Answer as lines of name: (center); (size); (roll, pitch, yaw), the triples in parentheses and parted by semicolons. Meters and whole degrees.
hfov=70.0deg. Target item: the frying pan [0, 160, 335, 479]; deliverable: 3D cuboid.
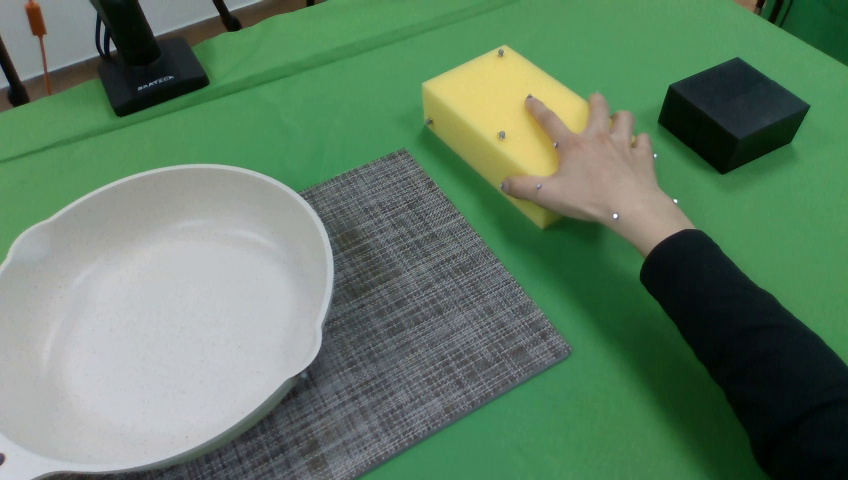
frying pan: (-0.262, 0.120, 0.450); (0.305, 0.103, 0.485); (19, 47, 19)

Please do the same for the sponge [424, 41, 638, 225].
sponge: (0.106, -0.122, 0.649); (0.118, 0.061, 0.204); (-30, 56, -19)
